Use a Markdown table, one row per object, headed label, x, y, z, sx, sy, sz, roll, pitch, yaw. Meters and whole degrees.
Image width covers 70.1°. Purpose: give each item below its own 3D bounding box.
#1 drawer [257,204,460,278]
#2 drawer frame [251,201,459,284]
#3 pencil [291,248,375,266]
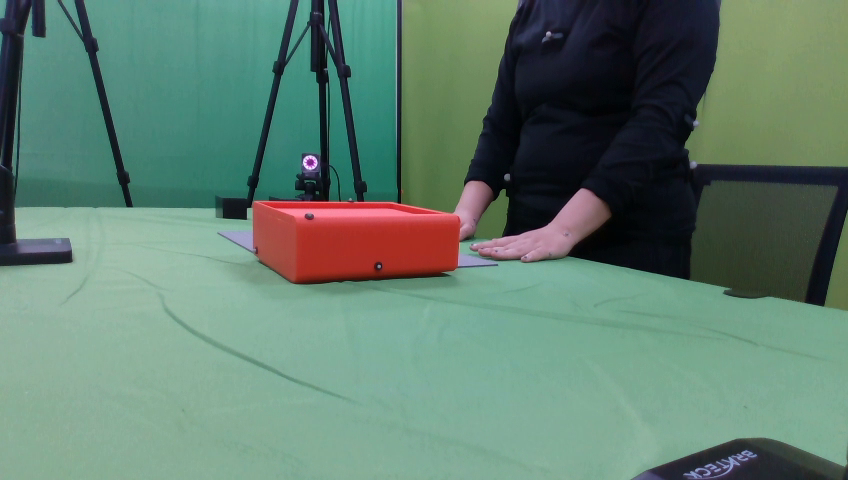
| label | x | y | z | sx | sy | sz | roll | pitch | yaw |
| --- | --- | --- | --- | --- | --- | --- | --- | --- | --- |
| drawer | -0.090 | -0.004 | 0.793 | 0.213 | 0.073 | 0.193 | -3 | 10 | -29 |
| drawer frame | -0.095 | -0.005 | 0.788 | 0.215 | 0.082 | 0.200 | -3 | 10 | -30 |
| pencil | -0.112 | 0.020 | 0.793 | 0.012 | 0.012 | 0.195 | 6 | 6 | 24 |
